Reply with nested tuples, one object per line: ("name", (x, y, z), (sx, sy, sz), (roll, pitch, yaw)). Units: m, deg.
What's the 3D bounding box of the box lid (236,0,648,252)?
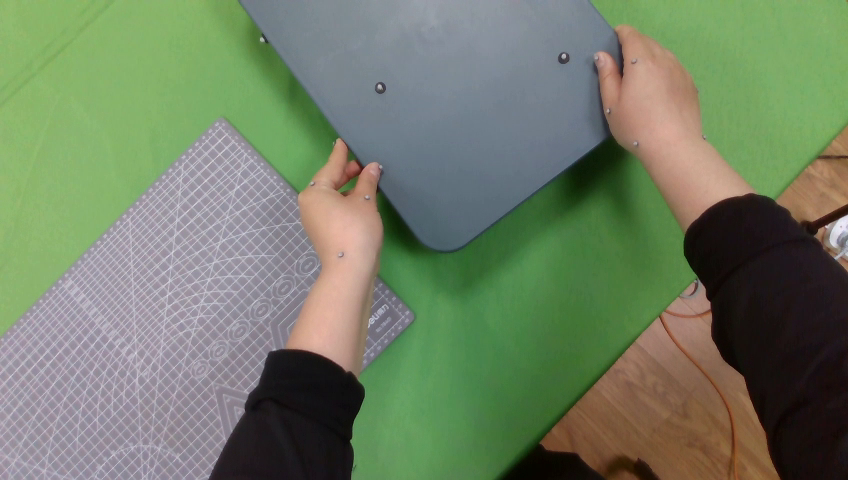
("box lid", (0.004, -0.202, 0.575), (0.263, 0.015, 0.370), (-37, 85, 0))
